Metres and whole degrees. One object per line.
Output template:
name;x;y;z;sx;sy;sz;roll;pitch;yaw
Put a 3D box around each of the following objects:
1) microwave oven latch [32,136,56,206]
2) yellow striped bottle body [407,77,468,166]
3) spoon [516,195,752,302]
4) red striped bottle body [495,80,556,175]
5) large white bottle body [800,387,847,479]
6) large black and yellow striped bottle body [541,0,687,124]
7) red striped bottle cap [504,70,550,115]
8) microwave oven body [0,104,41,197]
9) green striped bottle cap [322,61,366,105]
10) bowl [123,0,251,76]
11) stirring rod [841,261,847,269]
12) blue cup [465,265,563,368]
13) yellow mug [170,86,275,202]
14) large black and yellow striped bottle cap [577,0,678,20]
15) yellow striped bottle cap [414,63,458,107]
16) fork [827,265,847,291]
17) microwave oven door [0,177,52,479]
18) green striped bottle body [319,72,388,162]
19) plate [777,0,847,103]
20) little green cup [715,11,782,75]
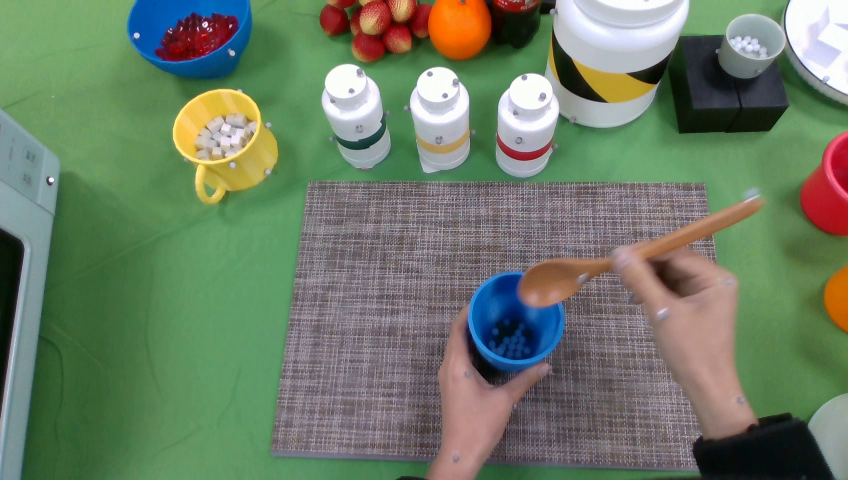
microwave oven latch;-0.446;-0.078;0.696;0.030;0.030;0.078;-6;68;1
yellow striped bottle body;0.016;-0.137;0.663;0.063;0.121;0.062;-2;67;5
spoon;0.151;0.010;0.462;0.042;0.193;0.021;52;43;-14
red striped bottle body;0.109;-0.126;0.652;0.063;0.121;0.062;-3;65;7
large white bottle body;0.404;0.165;0.474;0.130;0.186;0.129;-2;66;4
large black and yellow striped bottle body;0.200;-0.227;0.652;0.131;0.185;0.130;-2;67;4
red striped bottle cap;0.103;-0.148;0.604;0.044;0.018;0.044;0;66;0
microwave oven body;-0.578;0.067;0.542;0.326;0.262;0.438;-8;68;1
green striped bottle cap;-0.083;-0.162;0.624;0.044;0.020;0.044;-1;66;3
bowl;-0.282;-0.260;0.759;0.151;0.077;0.150;-1;68;3
stirring rod;0.435;0.058;0.541;0.014;0.006;0.175;-5;24;1
blue cup;0.082;0.081;0.574;0.092;0.101;0.092;-1;67;3
yellow mug;-0.235;-0.105;0.697;0.100;0.064;0.130;10;69;7
large black and yellow striped bottle cap;0.193;-0.259;0.575;0.115;0.019;0.114;-2;66;4
yellow striped bottle cap;0.012;-0.158;0.616;0.044;0.019;0.044;-1;69;3
fork;0.463;0.060;0.533;0.028;0.019;0.205;-33;25;-14
microwave oven door;-0.429;0.084;0.519;0.039;0.245;0.353;-8;67;1
green striped bottle body;-0.078;-0.142;0.672;0.063;0.120;0.062;-1;67;4
plate;0.521;-0.239;0.713;0.209;0.038;0.207;-1;68;4
little green cup;0.350;-0.212;0.660;0.061;0.039;0.061;-1;66;3
